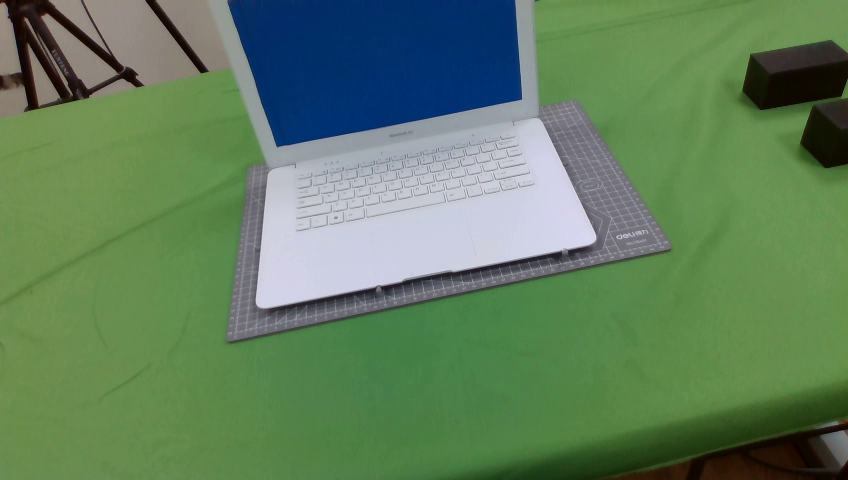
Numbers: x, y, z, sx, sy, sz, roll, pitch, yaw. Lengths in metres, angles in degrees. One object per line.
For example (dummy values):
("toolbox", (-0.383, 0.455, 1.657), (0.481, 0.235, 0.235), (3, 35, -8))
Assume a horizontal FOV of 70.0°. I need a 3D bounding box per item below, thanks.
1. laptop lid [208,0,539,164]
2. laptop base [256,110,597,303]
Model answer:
("laptop lid", (-0.046, -0.220, 0.704), (0.357, 0.244, 0.013), (-13, 36, 1))
("laptop base", (-0.011, -0.046, 0.690), (0.354, 0.023, 0.233), (-11, 47, 0))
